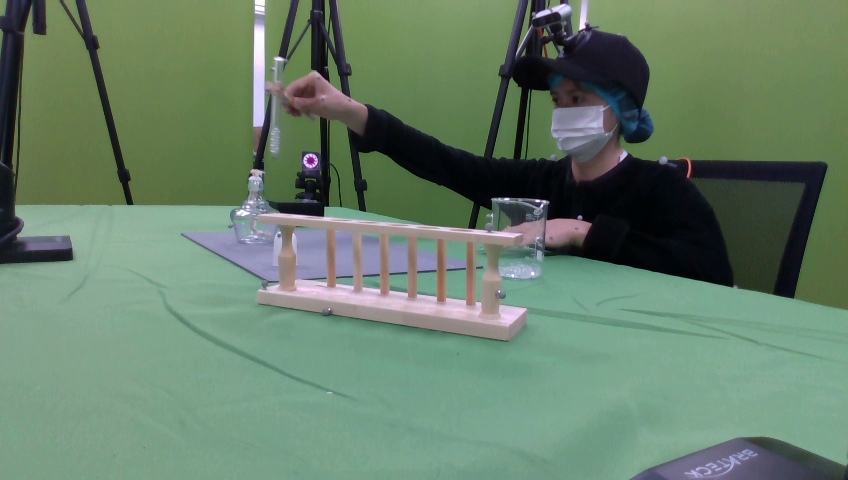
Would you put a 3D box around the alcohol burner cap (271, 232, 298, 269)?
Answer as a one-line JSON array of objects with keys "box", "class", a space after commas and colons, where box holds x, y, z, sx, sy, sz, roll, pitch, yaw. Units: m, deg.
[{"box": [-0.175, 0.012, 0.760, 0.034, 0.048, 0.034, 2, 8, 0], "class": "alcohol burner cap"}]

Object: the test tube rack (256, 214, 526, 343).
[{"box": [-0.032, 0.027, 0.547, 0.241, 0.085, 0.067, 5, 7, 22], "class": "test tube rack"}]

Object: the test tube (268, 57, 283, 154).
[{"box": [-0.235, -0.212, 0.955, 0.017, 0.150, 0.017, 4, 4, 0], "class": "test tube"}]

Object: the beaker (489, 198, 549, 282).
[{"box": [0.120, -0.001, 0.768, 0.074, 0.100, 0.083, -1, 9, -25], "class": "beaker"}]

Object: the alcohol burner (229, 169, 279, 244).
[{"box": [-0.268, -0.053, 0.958, 0.078, 0.119, 0.078, 2, 5, 0], "class": "alcohol burner"}]

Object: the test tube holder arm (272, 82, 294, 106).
[{"box": [-0.226, -0.234, 0.975, 0.010, 0.015, 0.088, 6, -3, 4], "class": "test tube holder arm"}]

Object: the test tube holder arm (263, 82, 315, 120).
[{"box": [-0.224, -0.232, 1.021, 0.013, 0.015, 0.179, 6, -3, 12], "class": "test tube holder arm"}]
